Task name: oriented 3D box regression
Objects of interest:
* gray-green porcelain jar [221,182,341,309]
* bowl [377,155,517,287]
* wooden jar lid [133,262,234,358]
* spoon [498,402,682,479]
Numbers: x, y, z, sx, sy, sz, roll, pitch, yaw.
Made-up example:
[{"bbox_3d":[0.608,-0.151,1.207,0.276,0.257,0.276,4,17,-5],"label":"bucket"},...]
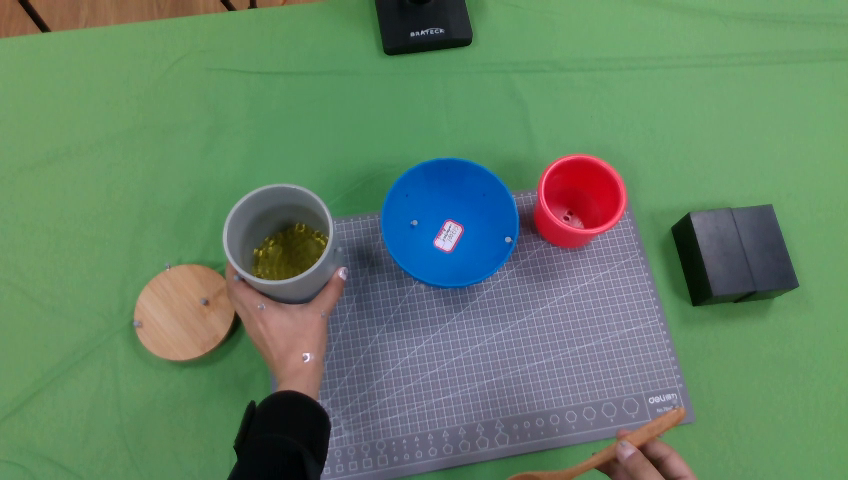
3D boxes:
[{"bbox_3d":[-0.144,0.012,0.641,0.106,0.127,0.105,1,71,-2],"label":"gray-green porcelain jar"},{"bbox_3d":[0.024,-0.012,0.683,0.151,0.077,0.150,1,71,-2],"label":"bowl"},{"bbox_3d":[-0.265,0.078,0.674,0.108,0.021,0.107,1,71,-1],"label":"wooden jar lid"},{"bbox_3d":[0.139,0.193,0.531,0.194,0.022,0.041,-38,74,23],"label":"spoon"}]
